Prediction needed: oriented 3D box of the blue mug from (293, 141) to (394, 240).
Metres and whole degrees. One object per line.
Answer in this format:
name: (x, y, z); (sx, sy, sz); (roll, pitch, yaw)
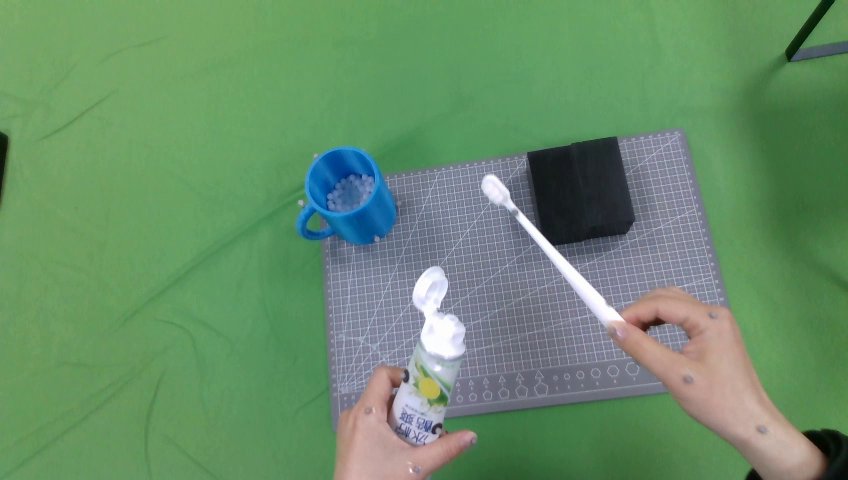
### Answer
blue mug: (-0.096, -0.044, 0.692); (0.116, 0.106, 0.082); (-35, 73, -3)

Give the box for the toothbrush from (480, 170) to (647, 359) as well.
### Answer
toothbrush: (0.103, 0.019, 0.445); (0.014, 0.016, 0.182); (-41, 93, 20)

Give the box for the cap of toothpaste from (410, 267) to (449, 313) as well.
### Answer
cap of toothpaste: (0.005, 0.037, 0.442); (0.011, 0.038, 0.037); (27, 78, 38)

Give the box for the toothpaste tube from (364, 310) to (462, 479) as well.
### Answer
toothpaste tube: (-0.006, 0.124, 0.469); (0.055, 0.034, 0.166); (23, 115, 15)
